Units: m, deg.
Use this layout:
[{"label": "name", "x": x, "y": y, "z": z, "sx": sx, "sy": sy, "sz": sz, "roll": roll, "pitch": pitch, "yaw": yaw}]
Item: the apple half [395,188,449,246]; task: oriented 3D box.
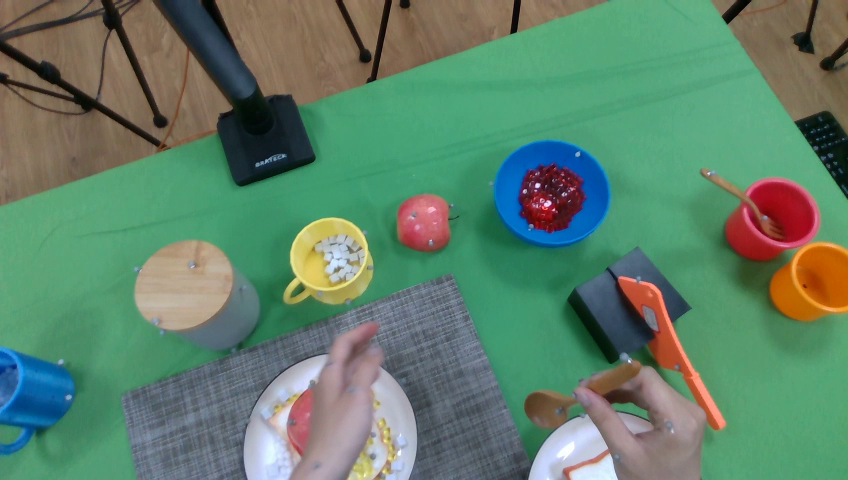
[{"label": "apple half", "x": -0.004, "y": -0.036, "z": 0.823, "sx": 0.074, "sy": 0.054, "sz": 0.080, "roll": 0, "pitch": 70, "yaw": 4}]

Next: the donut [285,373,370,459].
[{"label": "donut", "x": -0.112, "y": 0.205, "z": 0.709, "sx": 0.099, "sy": 0.048, "sz": 0.098, "roll": 0, "pitch": 70, "yaw": 1}]

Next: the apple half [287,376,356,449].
[{"label": "apple half", "x": -0.116, "y": 0.192, "z": 0.675, "sx": 0.081, "sy": 0.033, "sz": 0.080, "roll": -3, "pitch": 70, "yaw": 7}]

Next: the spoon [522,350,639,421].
[{"label": "spoon", "x": 0.129, "y": 0.127, "z": 0.515, "sx": 0.041, "sy": 0.194, "sz": 0.021, "roll": 43, "pitch": 65, "yaw": 8}]

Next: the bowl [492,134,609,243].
[{"label": "bowl", "x": 0.163, "y": -0.057, "z": 0.814, "sx": 0.151, "sy": 0.077, "sz": 0.150, "roll": 0, "pitch": 70, "yaw": 1}]

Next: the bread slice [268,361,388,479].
[{"label": "bread slice", "x": -0.106, "y": 0.228, "z": 0.731, "sx": 0.107, "sy": 0.018, "sz": 0.133, "roll": -37, "pitch": 73, "yaw": -11}]

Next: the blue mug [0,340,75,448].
[{"label": "blue mug", "x": -0.489, "y": 0.187, "z": 0.720, "sx": 0.082, "sy": 0.106, "sz": 0.115, "roll": -1, "pitch": 69, "yaw": 1}]

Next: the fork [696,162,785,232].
[{"label": "fork", "x": 0.406, "y": -0.054, "z": 0.769, "sx": 0.209, "sy": 0.018, "sz": 0.028, "roll": 25, "pitch": 64, "yaw": -34}]

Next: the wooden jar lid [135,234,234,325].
[{"label": "wooden jar lid", "x": -0.270, "y": 0.046, "z": 0.689, "sx": 0.108, "sy": 0.021, "sz": 0.107, "roll": 0, "pitch": 67, "yaw": 0}]

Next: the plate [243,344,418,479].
[{"label": "plate", "x": -0.110, "y": 0.231, "z": 0.729, "sx": 0.208, "sy": 0.039, "sz": 0.206, "roll": 0, "pitch": 70, "yaw": 1}]

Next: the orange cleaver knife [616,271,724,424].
[{"label": "orange cleaver knife", "x": 0.297, "y": 0.129, "z": 0.740, "sx": 0.012, "sy": 0.077, "sz": 0.211, "roll": -30, "pitch": 93, "yaw": -17}]

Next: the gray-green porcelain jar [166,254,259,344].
[{"label": "gray-green porcelain jar", "x": -0.267, "y": 0.069, "z": 0.749, "sx": 0.106, "sy": 0.127, "sz": 0.105, "roll": 0, "pitch": 69, "yaw": 1}]

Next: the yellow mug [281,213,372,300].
[{"label": "yellow mug", "x": -0.133, "y": 0.032, "z": 0.793, "sx": 0.131, "sy": 0.064, "sz": 0.099, "roll": -42, "pitch": 74, "yaw": -12}]

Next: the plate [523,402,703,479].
[{"label": "plate", "x": 0.217, "y": 0.296, "z": 0.703, "sx": 0.209, "sy": 0.038, "sz": 0.207, "roll": -1, "pitch": 70, "yaw": 2}]
